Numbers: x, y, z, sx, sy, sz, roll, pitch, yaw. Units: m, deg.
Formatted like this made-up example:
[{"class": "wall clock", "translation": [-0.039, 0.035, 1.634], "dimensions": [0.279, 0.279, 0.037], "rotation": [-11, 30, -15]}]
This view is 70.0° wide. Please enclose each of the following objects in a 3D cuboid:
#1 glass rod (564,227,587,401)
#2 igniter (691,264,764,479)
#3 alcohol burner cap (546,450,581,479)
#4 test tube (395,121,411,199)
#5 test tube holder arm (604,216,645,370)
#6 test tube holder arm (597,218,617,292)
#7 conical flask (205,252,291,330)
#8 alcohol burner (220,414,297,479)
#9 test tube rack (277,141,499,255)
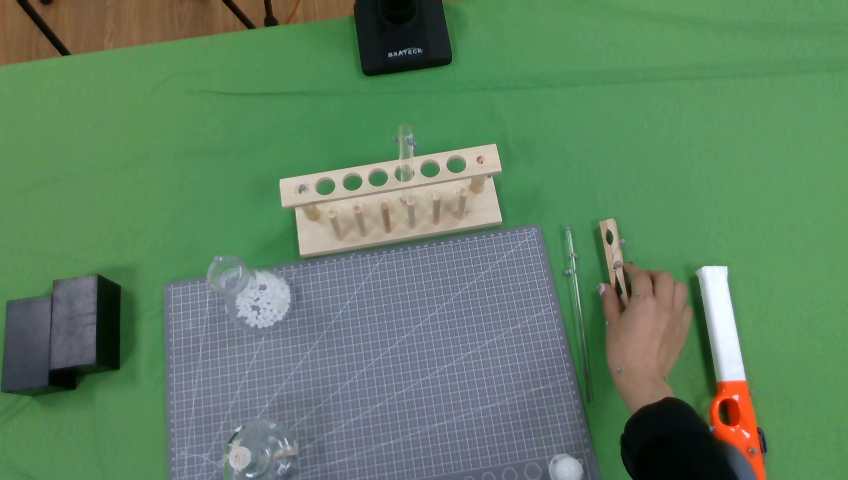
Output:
[{"class": "glass rod", "translation": [0.172, 0.081, 0.688], "dimensions": [0.008, 0.008, 0.198], "rotation": [-3, 74, 1]}, {"class": "igniter", "translation": [0.325, 0.159, 0.648], "dimensions": [0.057, 0.025, 0.274], "rotation": [1, 72, -8]}, {"class": "alcohol burner cap", "translation": [0.144, 0.231, 0.619], "dimensions": [0.034, 0.048, 0.033], "rotation": [-1, 70, 3]}, {"class": "test tube", "translation": [-0.022, -0.082, 0.655], "dimensions": [0.017, 0.151, 0.017], "rotation": [0, 68, -1]}, {"class": "test tube holder arm", "translation": [0.226, 0.058, 0.687], "dimensions": [0.013, 0.015, 0.177], "rotation": [-20, 68, 33]}, {"class": "test tube holder arm", "translation": [0.216, 0.017, 0.704], "dimensions": [0.010, 0.015, 0.087], "rotation": [-18, 69, 34]}, {"class": "conical flask", "translation": [-0.192, 0.049, 0.646], "dimensions": [0.075, 0.122, 0.075], "rotation": [0, 71, 2]}, {"class": "alcohol burner", "translation": [-0.168, 0.211, 0.597], "dimensions": [0.078, 0.120, 0.077], "rotation": [-1, 70, 4]}, {"class": "test tube rack", "translation": [-0.035, -0.045, 0.695], "dimensions": [0.242, 0.086, 0.066], "rotation": [-10, 72, -2]}]
